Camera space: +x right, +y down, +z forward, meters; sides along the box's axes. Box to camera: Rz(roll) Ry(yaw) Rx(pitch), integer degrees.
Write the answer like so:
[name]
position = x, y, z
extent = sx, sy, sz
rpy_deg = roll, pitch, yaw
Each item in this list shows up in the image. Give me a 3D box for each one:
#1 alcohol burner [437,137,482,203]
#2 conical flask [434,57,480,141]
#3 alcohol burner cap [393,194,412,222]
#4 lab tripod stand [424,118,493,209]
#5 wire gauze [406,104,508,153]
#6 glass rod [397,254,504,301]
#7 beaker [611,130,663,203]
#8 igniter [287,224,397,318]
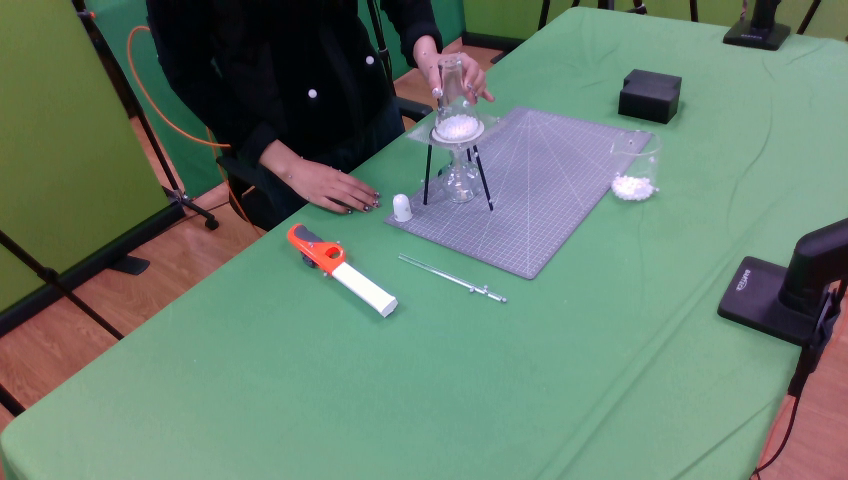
[alcohol burner]
position = 0.060, -0.125, 1.045
extent = 0.078, 0.119, 0.077
rpy_deg = -5, 39, 4
[conical flask]
position = 0.046, -0.224, 0.953
extent = 0.075, 0.122, 0.075
rpy_deg = -6, 40, 6
[alcohol burner cap]
position = -0.039, -0.057, 1.038
extent = 0.034, 0.048, 0.033
rpy_deg = -5, 39, 5
[lab tripod stand]
position = 0.061, -0.133, 1.038
extent = 0.148, 0.132, 0.147
rpy_deg = -6, 38, 6
[wire gauze]
position = 0.054, -0.183, 0.996
extent = 0.120, 0.011, 0.125
rpy_deg = 26, 53, 37
[glass rod]
position = 0.036, 0.054, 0.922
extent = 0.198, 0.008, 0.008
rpy_deg = 22, 50, 31
[beaker]
position = 0.346, -0.118, 0.998
extent = 0.084, 0.101, 0.073
rpy_deg = -17, 40, -7
[igniter]
position = -0.139, 0.042, 0.958
extent = 0.057, 0.025, 0.274
rpy_deg = -42, 49, -19
